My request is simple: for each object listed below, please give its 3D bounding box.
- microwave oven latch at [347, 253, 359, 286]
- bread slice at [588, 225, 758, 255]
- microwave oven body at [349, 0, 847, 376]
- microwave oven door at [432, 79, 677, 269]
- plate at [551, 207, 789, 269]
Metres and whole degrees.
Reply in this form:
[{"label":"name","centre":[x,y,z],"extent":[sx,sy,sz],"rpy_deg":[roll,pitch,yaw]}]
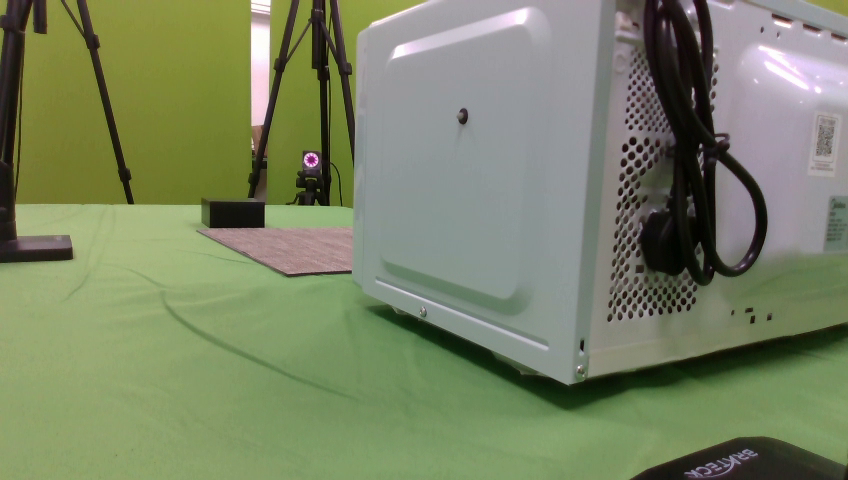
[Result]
[{"label":"microwave oven latch","centre":[-0.034,0.028,0.581],"extent":[0.079,0.029,0.030],"rpy_deg":[-1,7,-31]},{"label":"bread slice","centre":[0.225,-0.001,0.569],"extent":[0.132,0.019,0.104],"rpy_deg":[1,6,-23]},{"label":"microwave oven body","centre":[0.199,-0.053,0.540],"extent":[0.444,0.260,0.324],"rpy_deg":[-1,7,-32]},{"label":"microwave oven door","centre":[0.168,-0.102,0.873],"extent":[0.354,0.243,0.039],"rpy_deg":[8,9,35]},{"label":"plate","centre":[0.224,-0.004,0.572],"extent":[0.209,0.038,0.209],"rpy_deg":[3,7,0]}]
